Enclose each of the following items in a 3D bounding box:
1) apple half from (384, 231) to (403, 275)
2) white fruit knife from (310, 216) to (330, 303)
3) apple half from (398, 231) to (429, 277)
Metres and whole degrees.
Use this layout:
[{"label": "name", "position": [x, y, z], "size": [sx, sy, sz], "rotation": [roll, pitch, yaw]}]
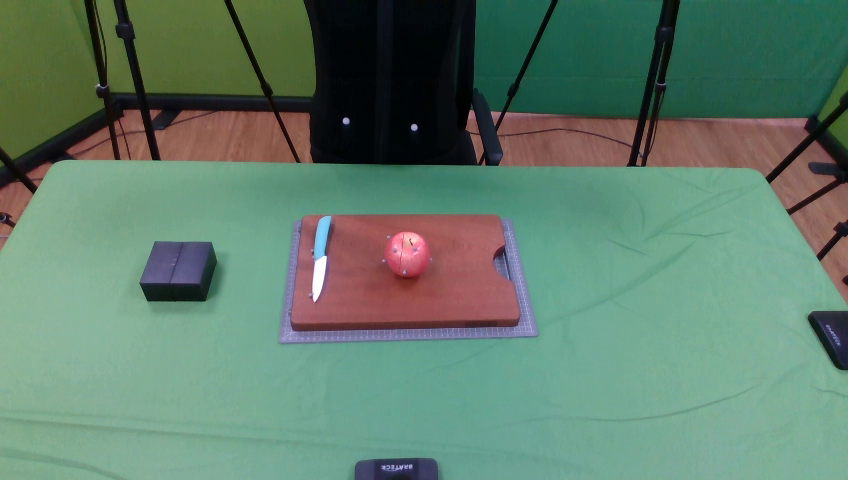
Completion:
[{"label": "apple half", "position": [-0.056, 0.025, 1.093], "size": [0.033, 0.081, 0.081], "rotation": [5, 46, -2]}, {"label": "white fruit knife", "position": [-0.194, 0.032, 1.116], "size": [0.027, 0.016, 0.206], "rotation": [-8, 47, 7]}, {"label": "apple half", "position": [-0.018, 0.028, 1.095], "size": [0.053, 0.075, 0.080], "rotation": [6, 42, -4]}]
